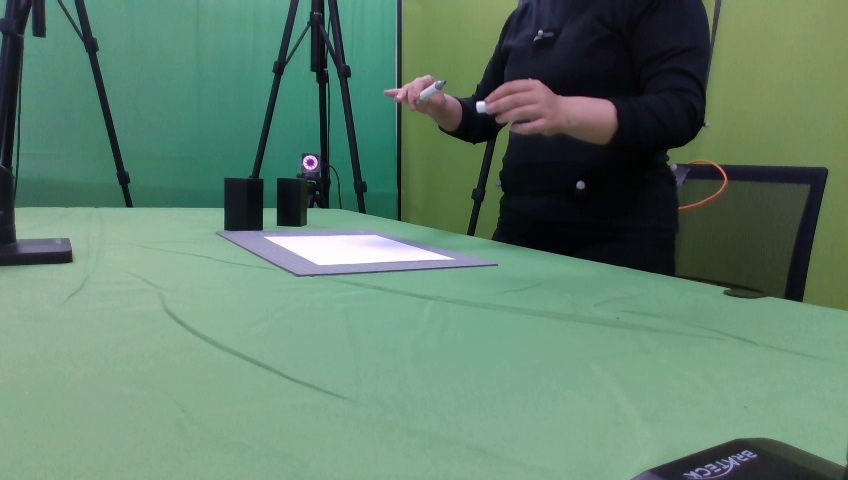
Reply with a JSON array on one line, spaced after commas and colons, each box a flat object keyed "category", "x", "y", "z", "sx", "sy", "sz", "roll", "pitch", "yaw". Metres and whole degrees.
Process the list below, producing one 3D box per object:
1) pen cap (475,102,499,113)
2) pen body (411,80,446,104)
[{"category": "pen cap", "x": 0.097, "y": -0.204, "z": 0.930, "sx": 0.017, "sy": 0.017, "sz": 0.038, "roll": -3, "pitch": 14, "yaw": -41}, {"category": "pen body", "x": 0.010, "y": -0.276, "z": 1.126, "sx": 0.017, "sy": 0.017, "sz": 0.143, "roll": 0, "pitch": -3, "yaw": -23}]
